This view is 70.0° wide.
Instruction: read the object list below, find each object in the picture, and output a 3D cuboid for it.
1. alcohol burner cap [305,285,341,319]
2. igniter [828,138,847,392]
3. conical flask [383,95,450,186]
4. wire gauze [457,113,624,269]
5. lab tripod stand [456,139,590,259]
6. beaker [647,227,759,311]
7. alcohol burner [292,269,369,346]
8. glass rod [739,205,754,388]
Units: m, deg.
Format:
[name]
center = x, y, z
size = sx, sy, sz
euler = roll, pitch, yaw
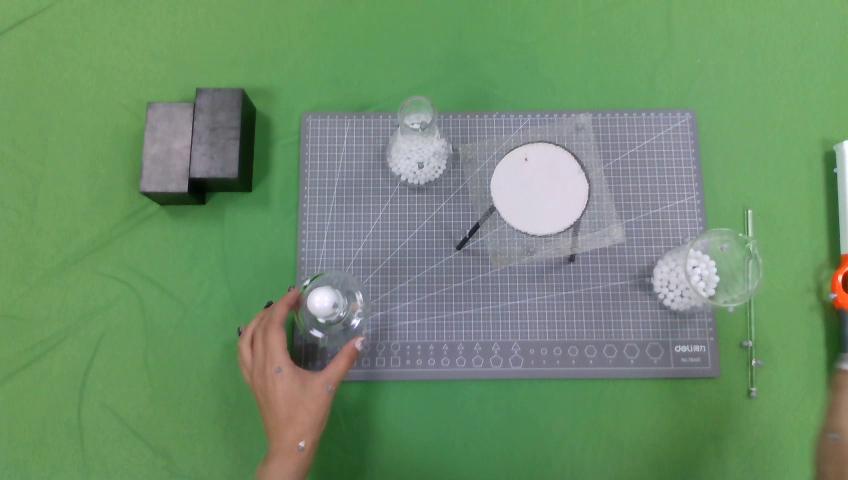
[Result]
[alcohol burner cap]
center = -0.094, 0.056, 0.560
size = 0.034, 0.048, 0.034
euler = 1, 82, -4
[igniter]
center = 0.462, 0.024, 0.653
size = 0.057, 0.025, 0.275
euler = 7, 79, -10
[conical flask]
center = -0.009, -0.107, 0.624
size = 0.075, 0.122, 0.075
euler = 0, 78, 0
[wire gauze]
center = 0.103, -0.044, 0.539
size = 0.125, 0.011, 0.121
euler = -13, 80, -2
[lab tripod stand]
center = 0.101, -0.033, 0.605
size = 0.148, 0.132, 0.148
euler = 0, 81, 0
[beaker]
center = 0.277, 0.031, 0.611
size = 0.084, 0.100, 0.073
euler = -37, 81, -8
[alcohol burner]
center = -0.095, 0.064, 0.596
size = 0.078, 0.119, 0.077
euler = 0, 78, 2
[glass rod]
center = 0.350, 0.058, 0.656
size = 0.008, 0.008, 0.199
euler = 3, 79, 0
